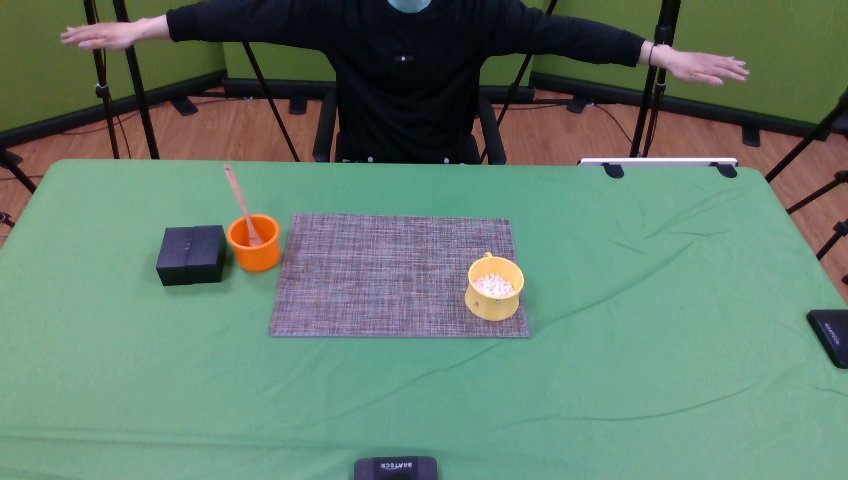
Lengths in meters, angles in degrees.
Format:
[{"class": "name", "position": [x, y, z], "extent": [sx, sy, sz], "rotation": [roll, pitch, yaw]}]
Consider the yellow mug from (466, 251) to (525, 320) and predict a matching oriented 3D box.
[{"class": "yellow mug", "position": [0.125, 0.074, 1.096], "extent": [0.100, 0.064, 0.130], "rotation": [-4, 45, -7]}]

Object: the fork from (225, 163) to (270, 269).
[{"class": "fork", "position": [-0.331, -0.045, 1.127], "extent": [0.028, 0.018, 0.207], "rotation": [-20, 94, -23]}]
